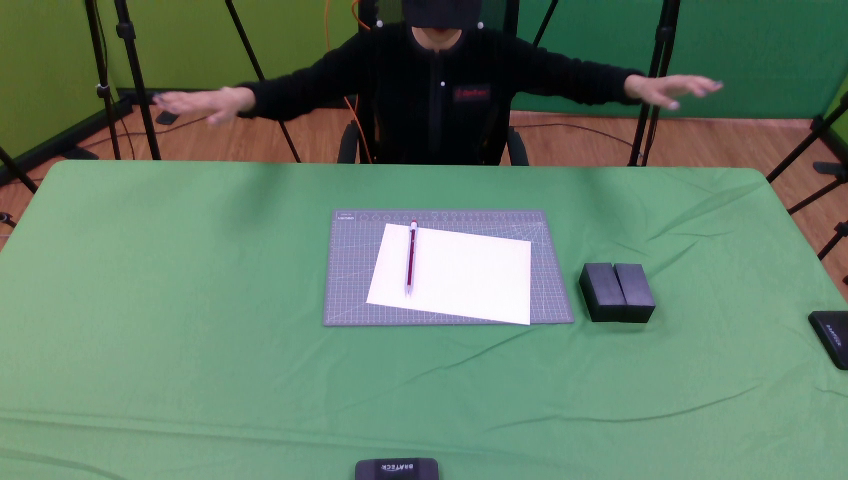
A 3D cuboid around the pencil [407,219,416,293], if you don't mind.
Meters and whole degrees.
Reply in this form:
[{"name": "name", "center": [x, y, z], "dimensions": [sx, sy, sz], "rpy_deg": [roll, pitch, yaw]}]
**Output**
[{"name": "pencil", "center": [-0.025, 0.028, 1.172], "dimensions": [0.012, 0.012, 0.193], "rpy_deg": [3, 46, 0]}]
